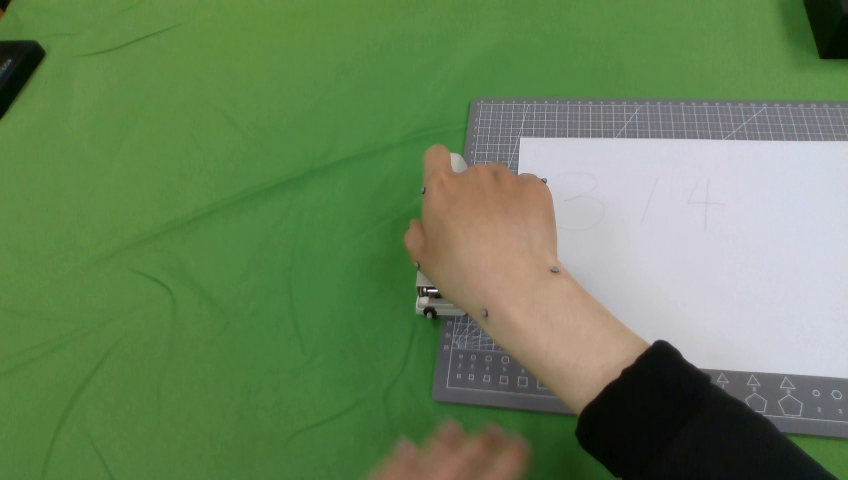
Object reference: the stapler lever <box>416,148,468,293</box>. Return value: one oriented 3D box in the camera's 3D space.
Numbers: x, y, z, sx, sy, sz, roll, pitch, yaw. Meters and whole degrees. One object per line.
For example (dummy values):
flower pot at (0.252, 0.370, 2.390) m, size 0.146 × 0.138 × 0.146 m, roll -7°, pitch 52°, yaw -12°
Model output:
stapler lever at (0.014, -0.018, 0.462) m, size 0.026 × 0.040 × 0.117 m, roll -1°, pitch 59°, yaw 20°

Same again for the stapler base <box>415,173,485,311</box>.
stapler base at (0.020, -0.006, 0.483) m, size 0.041 × 0.025 × 0.129 m, roll -1°, pitch 59°, yaw 20°
